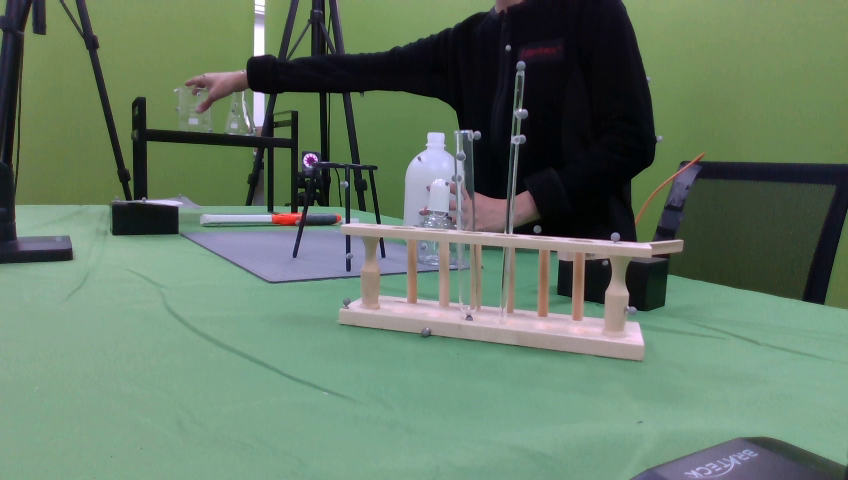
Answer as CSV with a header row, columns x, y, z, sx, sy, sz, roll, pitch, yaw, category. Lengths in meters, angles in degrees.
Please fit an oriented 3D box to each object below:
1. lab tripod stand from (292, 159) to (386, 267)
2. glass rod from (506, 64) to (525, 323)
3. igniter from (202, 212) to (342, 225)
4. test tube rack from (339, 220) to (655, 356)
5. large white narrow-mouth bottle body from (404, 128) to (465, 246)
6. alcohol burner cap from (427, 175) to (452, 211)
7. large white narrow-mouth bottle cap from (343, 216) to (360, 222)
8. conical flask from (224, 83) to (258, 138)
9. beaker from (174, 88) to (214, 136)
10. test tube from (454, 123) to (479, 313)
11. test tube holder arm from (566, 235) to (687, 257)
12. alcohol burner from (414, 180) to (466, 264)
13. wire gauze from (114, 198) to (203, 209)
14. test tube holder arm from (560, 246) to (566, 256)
x,y,z,sx,sy,sz,roll,pitch,yaw,category
-0.105,-0.039,0.798,0.148,0.131,0.148,2,5,0,lab tripod stand
0.069,-0.030,0.458,0.008,0.199,0.008,0,15,0,glass rod
-0.298,-0.043,1.216,0.278,0.025,0.057,-3,-2,-32,igniter
0.056,0.032,0.495,0.242,0.085,0.067,4,7,15,test tube rack
0.019,-0.092,1.030,0.102,0.194,0.102,2,8,0,large white narrow-mouth bottle body
0.023,-0.064,0.822,0.034,0.048,0.034,7,5,0,alcohol burner cap
-0.148,-0.036,1.234,0.038,0.024,0.037,2,8,0,large white narrow-mouth bottle cap
-0.422,-0.299,1.395,0.075,0.122,0.075,2,8,0,conical flask
-0.511,-0.284,1.348,0.084,0.100,0.073,-2,9,-26,beaker
0.034,-0.016,0.477,0.017,0.150,0.017,-2,9,1,test tube
0.215,0.006,0.630,0.179,0.015,0.013,-3,9,-31,test tube holder arm
0.021,-0.028,0.825,0.078,0.119,0.078,0,6,0,alcohol burner
-0.447,-0.062,1.015,0.126,0.011,0.121,-2,8,-31,wire gauze
0.173,0.007,0.611,0.088,0.015,0.010,-3,9,-30,test tube holder arm
